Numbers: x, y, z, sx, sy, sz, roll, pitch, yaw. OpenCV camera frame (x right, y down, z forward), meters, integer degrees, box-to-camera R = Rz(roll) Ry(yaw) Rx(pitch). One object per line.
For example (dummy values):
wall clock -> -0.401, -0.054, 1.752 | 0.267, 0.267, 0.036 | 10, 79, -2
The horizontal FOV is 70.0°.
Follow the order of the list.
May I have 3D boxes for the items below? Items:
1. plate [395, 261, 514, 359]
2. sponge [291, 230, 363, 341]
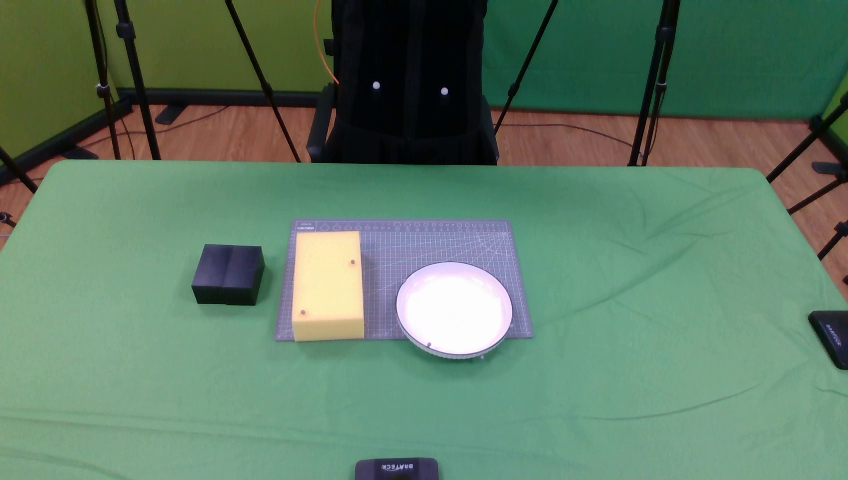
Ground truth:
plate -> 0.052, 0.124, 1.066 | 0.209, 0.038, 0.208 | 2, 46, -2
sponge -> -0.171, 0.077, 1.081 | 0.118, 0.061, 0.205 | -3, 47, -6
